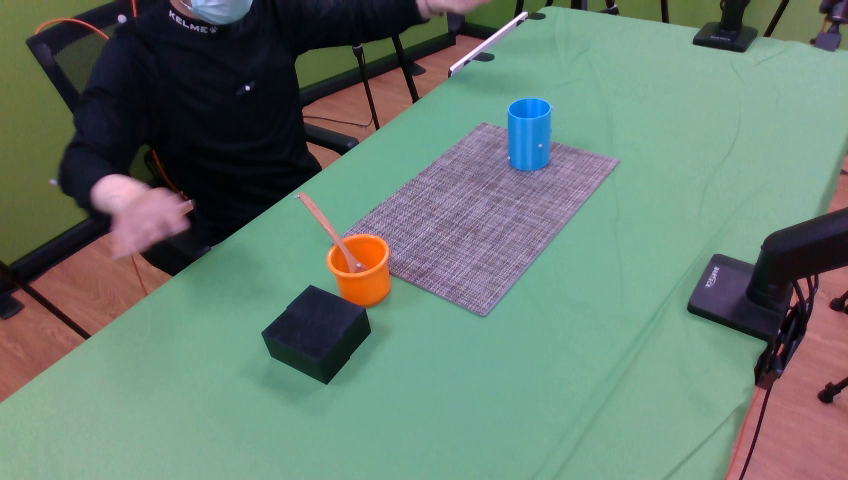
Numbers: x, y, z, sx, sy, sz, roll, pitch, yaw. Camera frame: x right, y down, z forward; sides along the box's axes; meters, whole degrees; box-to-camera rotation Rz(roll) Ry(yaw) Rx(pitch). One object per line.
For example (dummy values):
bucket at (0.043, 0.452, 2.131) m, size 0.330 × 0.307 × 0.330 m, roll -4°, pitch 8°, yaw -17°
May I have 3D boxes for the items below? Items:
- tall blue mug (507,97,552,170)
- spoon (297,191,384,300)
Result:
tall blue mug at (0.179, -0.198, 1.101) m, size 0.078 × 0.108 × 0.106 m, roll -36°, pitch 49°, yaw -28°
spoon at (-0.124, 0.006, 0.882) m, size 0.042 × 0.194 × 0.021 m, roll -36°, pitch 4°, yaw -26°
